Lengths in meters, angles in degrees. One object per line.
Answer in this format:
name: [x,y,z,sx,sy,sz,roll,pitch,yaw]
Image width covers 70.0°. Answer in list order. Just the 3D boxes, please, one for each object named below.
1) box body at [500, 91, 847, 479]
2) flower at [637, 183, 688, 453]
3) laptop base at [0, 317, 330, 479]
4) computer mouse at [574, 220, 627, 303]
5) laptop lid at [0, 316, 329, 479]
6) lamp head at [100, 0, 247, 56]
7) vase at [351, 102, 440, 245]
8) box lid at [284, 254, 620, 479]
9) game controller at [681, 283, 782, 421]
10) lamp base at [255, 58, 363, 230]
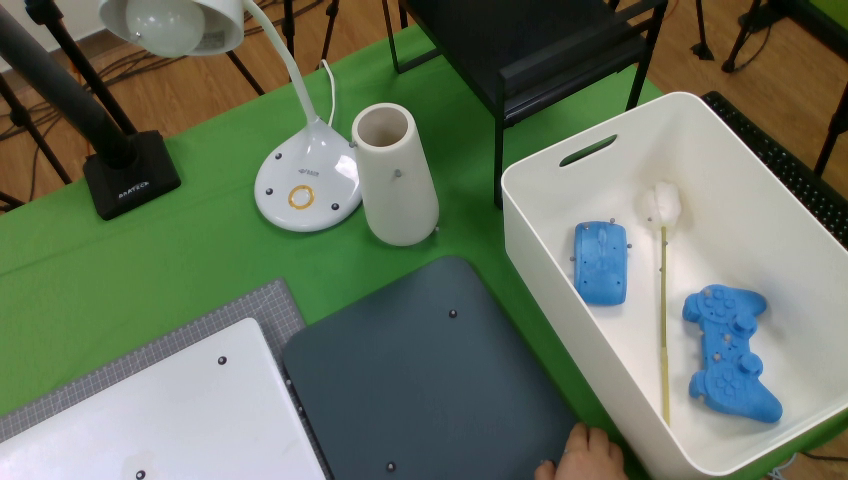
box body: [0.273,0.048,0.662,0.254,0.162,0.360,-25,62,-8]
flower: [0.287,0.088,0.710,0.044,0.038,0.358,-12,56,28]
laptop base: [-0.306,0.261,0.679,0.354,0.023,0.233,-27,66,-10]
computer mouse: [0.217,0.022,0.746,0.062,0.041,0.116,5,57,12]
laptop lid: [-0.306,0.257,0.668,0.357,0.013,0.239,-26,64,-9]
lamp head: [-0.203,-0.228,0.506,0.112,0.113,0.122,-1,78,5]
vase: [-0.036,-0.076,0.739,0.098,0.202,0.097,-3,60,6]
box lid: [0.020,0.201,0.686,0.263,0.015,0.368,-28,62,-11]
game controller: [0.344,0.118,0.677,0.097,0.052,0.154,4,60,9]
lamp base: [-0.165,-0.132,0.793,0.160,0.182,0.177,2,58,7]
